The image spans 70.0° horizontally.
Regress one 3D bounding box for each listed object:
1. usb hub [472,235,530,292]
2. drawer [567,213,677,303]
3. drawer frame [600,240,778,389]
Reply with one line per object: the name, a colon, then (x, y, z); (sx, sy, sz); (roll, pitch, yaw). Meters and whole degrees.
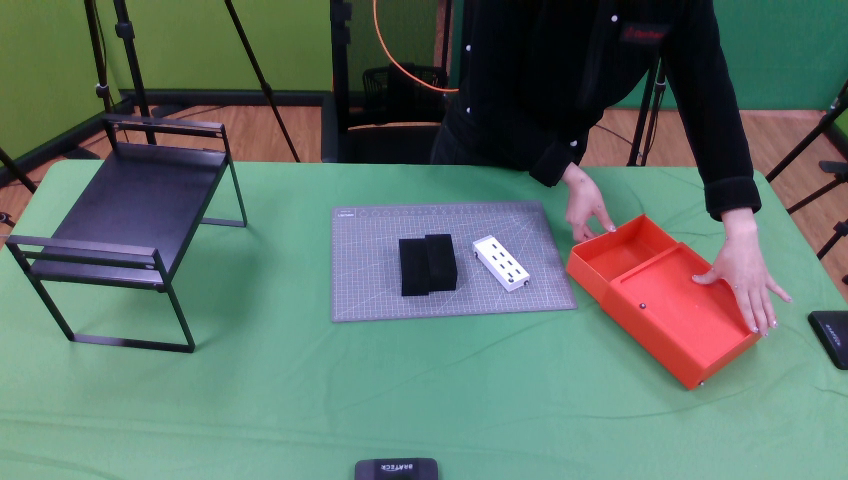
usb hub: (0.145, 0.043, 1.160); (0.049, 0.025, 0.124); (-23, 51, -23)
drawer: (0.409, 0.066, 1.123); (0.194, 0.073, 0.210); (-23, 52, -24)
drawer frame: (0.460, 0.122, 1.067); (0.202, 0.083, 0.212); (-25, 53, -25)
